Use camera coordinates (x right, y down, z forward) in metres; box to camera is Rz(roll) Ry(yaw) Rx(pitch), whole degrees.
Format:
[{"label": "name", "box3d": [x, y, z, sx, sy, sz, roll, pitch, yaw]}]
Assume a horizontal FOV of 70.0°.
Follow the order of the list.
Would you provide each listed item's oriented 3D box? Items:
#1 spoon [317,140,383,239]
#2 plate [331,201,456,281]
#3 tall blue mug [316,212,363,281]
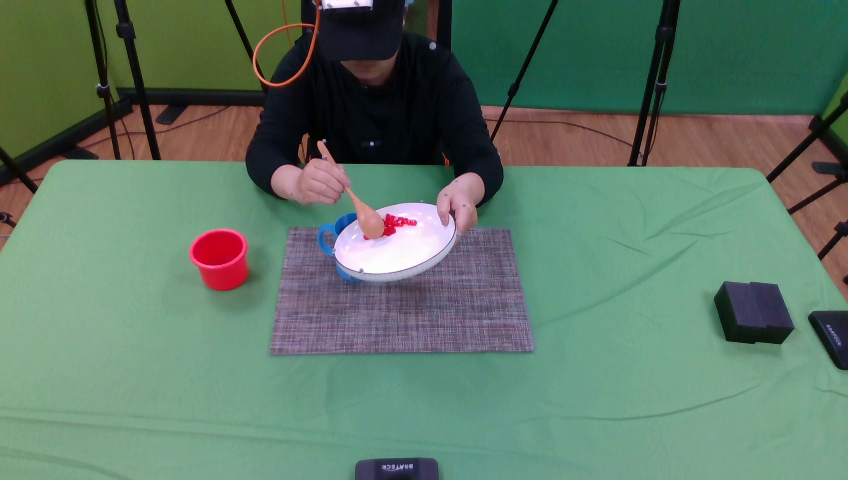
[{"label": "spoon", "box3d": [-0.130, -0.086, 1.024, 0.041, 0.021, 0.193, -32, 85, -15]}, {"label": "plate", "box3d": [-0.048, 0.005, 0.999, 0.207, 0.039, 0.206, -9, 33, 6]}, {"label": "tall blue mug", "box3d": [-0.142, 0.014, 1.109, 0.107, 0.108, 0.077, -4, 48, -9]}]
